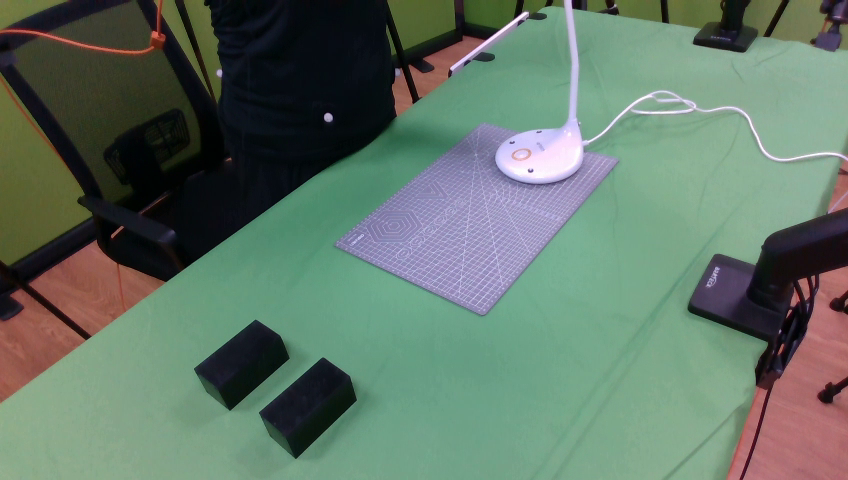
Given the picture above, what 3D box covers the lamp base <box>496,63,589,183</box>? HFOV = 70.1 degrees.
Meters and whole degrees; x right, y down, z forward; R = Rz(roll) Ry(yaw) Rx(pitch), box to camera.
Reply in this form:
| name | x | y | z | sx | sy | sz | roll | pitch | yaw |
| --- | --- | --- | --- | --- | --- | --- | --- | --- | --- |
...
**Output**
| name | x | y | z | sx | sy | sz | roll | pitch | yaw |
| --- | --- | --- | --- | --- | --- | --- | --- | --- | --- |
| lamp base | 0.216 | -0.217 | 1.067 | 0.180 | 0.181 | 0.159 | -19 | 42 | -18 |
